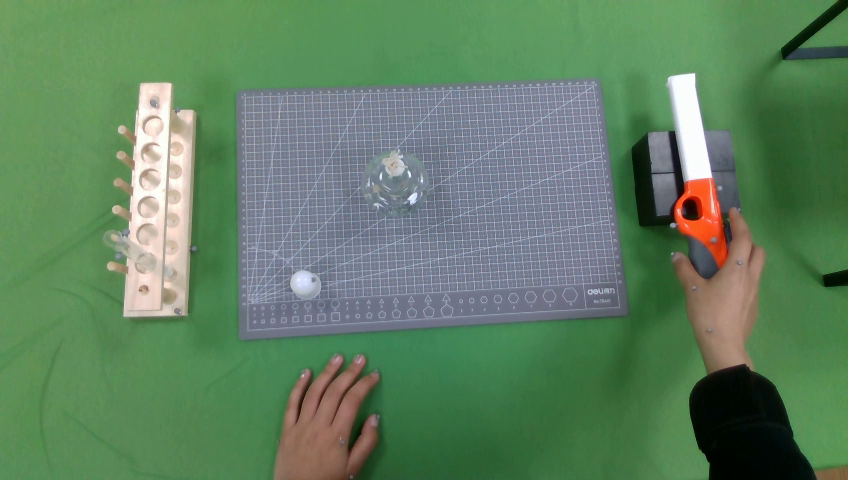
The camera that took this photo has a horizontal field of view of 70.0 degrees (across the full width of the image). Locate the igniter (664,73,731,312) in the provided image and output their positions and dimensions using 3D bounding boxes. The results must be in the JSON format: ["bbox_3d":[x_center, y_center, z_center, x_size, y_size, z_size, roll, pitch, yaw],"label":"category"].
[{"bbox_3d":[0.307,-0.057,0.685,0.057,0.025,0.275,-6,79,8],"label":"igniter"}]

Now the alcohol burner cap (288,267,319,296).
[{"bbox_3d":[-0.136,0.045,0.676,0.034,0.048,0.033,1,79,-4],"label":"alcohol burner cap"}]

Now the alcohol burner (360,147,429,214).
[{"bbox_3d":[-0.033,-0.070,0.667,0.078,0.119,0.077,0,80,-2],"label":"alcohol burner"}]

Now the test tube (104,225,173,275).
[{"bbox_3d":[-0.281,0.013,0.605,0.017,0.151,0.017,1,75,-4],"label":"test tube"}]

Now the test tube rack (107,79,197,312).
[{"bbox_3d":[-0.301,-0.045,0.664,0.067,0.085,0.241,-1,80,-3],"label":"test tube rack"}]
